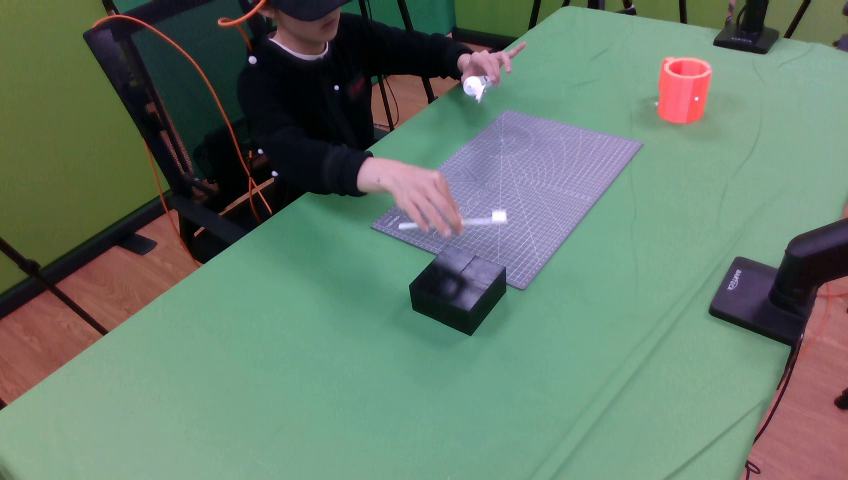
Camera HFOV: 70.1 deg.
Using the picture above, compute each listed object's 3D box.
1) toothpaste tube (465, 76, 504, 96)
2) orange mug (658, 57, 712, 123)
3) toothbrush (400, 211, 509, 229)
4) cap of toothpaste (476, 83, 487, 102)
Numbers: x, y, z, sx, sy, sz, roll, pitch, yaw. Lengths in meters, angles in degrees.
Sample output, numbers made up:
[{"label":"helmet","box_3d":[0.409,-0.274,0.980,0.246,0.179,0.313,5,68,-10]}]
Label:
[{"label":"toothpaste tube","box_3d":[0.113,-0.300,1.154,0.055,0.034,0.165,4,21,17]},{"label":"orange mug","box_3d":[0.504,-0.304,1.193,0.083,0.101,0.125,-13,45,-5]},{"label":"toothbrush","box_3d":[0.038,-0.027,0.853,0.180,0.016,0.014,-3,-1,36]},{"label":"cap of toothpaste","box_3d":[0.101,-0.262,1.072,0.011,0.037,0.037,22,45,2]}]
